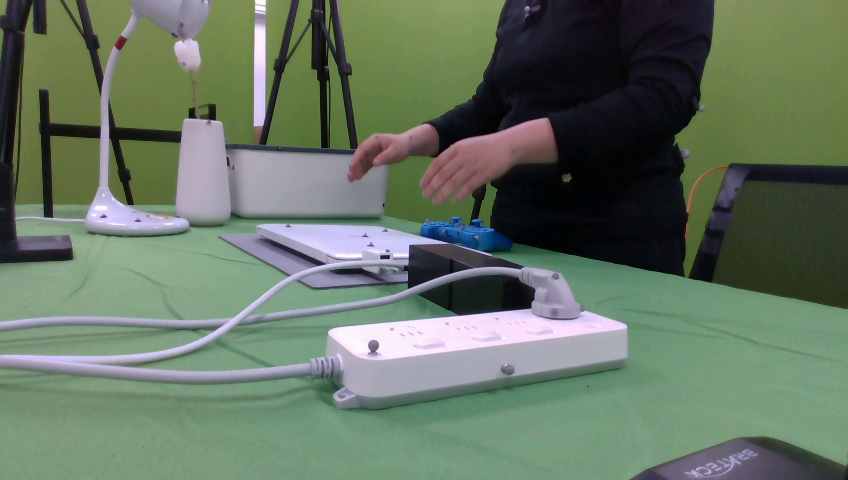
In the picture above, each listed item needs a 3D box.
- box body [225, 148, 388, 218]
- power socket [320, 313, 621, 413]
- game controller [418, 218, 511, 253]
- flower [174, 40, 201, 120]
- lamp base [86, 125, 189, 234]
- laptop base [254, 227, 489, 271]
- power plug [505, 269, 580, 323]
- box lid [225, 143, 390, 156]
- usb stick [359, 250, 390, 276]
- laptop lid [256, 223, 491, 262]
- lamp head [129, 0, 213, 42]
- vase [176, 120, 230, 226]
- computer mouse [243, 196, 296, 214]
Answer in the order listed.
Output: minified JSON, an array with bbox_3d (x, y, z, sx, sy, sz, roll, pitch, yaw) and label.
[{"bbox_3d":[-0.298,-0.143,1.474,0.366,0.160,0.253,-1,9,-30],"label":"box body"},{"bbox_3d":[0.038,0.075,0.409,0.228,0.032,0.072,-2,8,-29],"label":"power socket"},{"bbox_3d":[0.062,-0.008,1.028,0.154,0.051,0.097,9,14,43],"label":"game controller"},{"bbox_3d":[-0.430,-0.211,1.166,0.044,0.361,0.038,-10,-5,-24],"label":"flower"},{"bbox_3d":[-0.497,-0.105,1.027,0.179,0.180,0.160,1,7,3],"label":"lamp base"},{"bbox_3d":[-0.095,0.011,0.912,0.237,0.023,0.352,2,6,-32],"label":"laptop base"},{"bbox_3d":[0.092,0.051,0.470,0.035,0.052,0.072,0,7,-16],"label":"power plug"},{"bbox_3d":[-0.296,-0.217,1.463,0.373,0.015,0.262,-2,8,-29],"label":"box lid"},{"bbox_3d":[-0.061,0.026,0.709,0.021,0.027,0.059,-2,3,-29],"label":"usb stick"},{"bbox_3d":[-0.092,0.000,0.912,0.243,0.013,0.355,1,7,-30],"label":"laptop lid"},{"bbox_3d":[-0.423,-0.394,0.980,0.123,0.112,0.112,21,7,-3],"label":"lamp head"},{"bbox_3d":[-0.424,-0.128,1.159,0.098,0.200,0.098,2,9,0],"label":"vase"},{"bbox_3d":[-0.362,-0.082,1.416,0.117,0.041,0.063,-3,10,5],"label":"computer mouse"}]
